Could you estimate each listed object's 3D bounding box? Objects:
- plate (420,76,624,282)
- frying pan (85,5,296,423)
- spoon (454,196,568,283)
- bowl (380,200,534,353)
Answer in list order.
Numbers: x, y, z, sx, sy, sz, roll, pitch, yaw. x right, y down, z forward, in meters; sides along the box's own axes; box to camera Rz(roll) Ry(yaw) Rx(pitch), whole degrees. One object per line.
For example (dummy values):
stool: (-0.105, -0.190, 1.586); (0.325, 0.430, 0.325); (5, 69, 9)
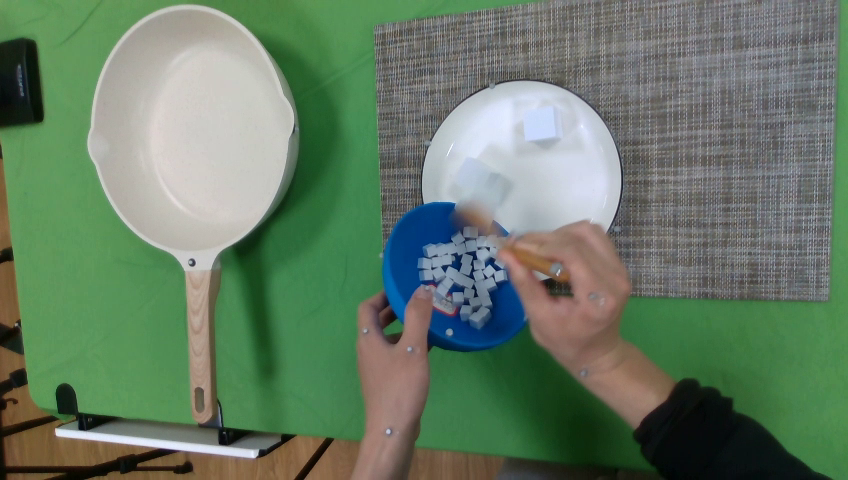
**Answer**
plate: (0.099, -0.061, 0.624); (0.207, 0.039, 0.208); (2, 96, 21)
frying pan: (-0.275, -0.025, 0.737); (0.305, 0.103, 0.487); (-2, 87, 22)
spoon: (0.064, -0.001, 0.480); (0.021, 0.192, 0.042); (-42, 115, 3)
bowl: (0.020, 0.046, 0.576); (0.151, 0.151, 0.077); (50, 141, 9)
